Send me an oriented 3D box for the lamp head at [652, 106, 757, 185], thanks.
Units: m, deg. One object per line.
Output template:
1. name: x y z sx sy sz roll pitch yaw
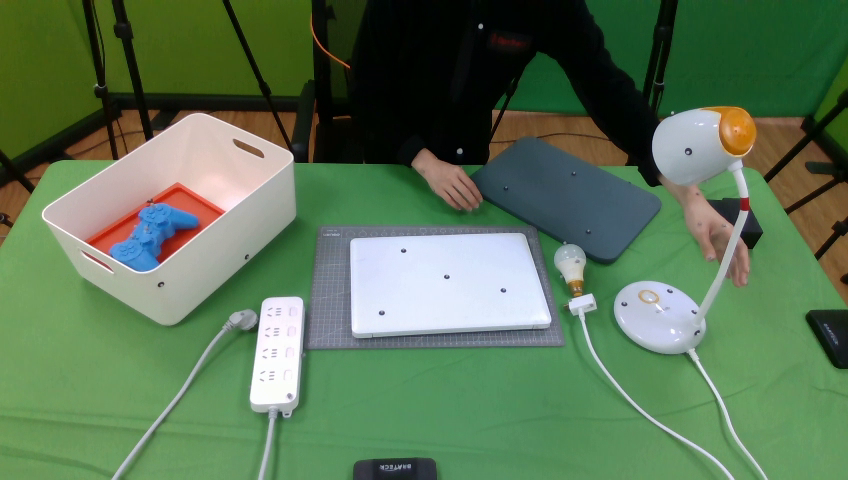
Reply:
1. lamp head: 0.410 -0.139 0.869 0.113 0.122 0.112 0 89 -19

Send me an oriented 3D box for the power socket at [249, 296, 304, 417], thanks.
1. power socket: -0.239 0.182 0.996 0.072 0.033 0.225 -2 47 -5

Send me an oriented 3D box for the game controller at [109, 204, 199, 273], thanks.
1. game controller: -0.467 -0.005 1.044 0.097 0.052 0.154 8 45 10

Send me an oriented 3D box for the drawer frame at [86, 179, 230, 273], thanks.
1. drawer frame: -0.453 0.010 1.100 0.201 0.083 0.213 28 54 23

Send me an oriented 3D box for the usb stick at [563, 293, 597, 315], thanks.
1. usb stick: 0.280 0.118 1.093 0.059 0.021 0.027 -18 35 25

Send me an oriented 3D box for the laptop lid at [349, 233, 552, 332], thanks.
1. laptop lid: 0.040 0.070 1.119 0.357 0.013 0.240 -1 44 -5

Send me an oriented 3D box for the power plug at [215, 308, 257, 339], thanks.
1. power plug: -0.317 0.143 1.024 0.072 0.053 0.035 -32 58 -9

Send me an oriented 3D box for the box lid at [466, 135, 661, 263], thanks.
1. box lid: 0.306 -0.102 1.327 0.370 0.015 0.263 32 52 25

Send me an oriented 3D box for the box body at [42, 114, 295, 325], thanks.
1. box body: -0.437 -0.046 1.110 0.253 0.161 0.363 24 49 19

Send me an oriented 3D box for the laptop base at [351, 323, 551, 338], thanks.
1. laptop base: 0.040 0.080 1.126 0.355 0.023 0.234 -2 43 -6

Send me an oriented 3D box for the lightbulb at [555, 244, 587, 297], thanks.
1. lightbulb: 0.282 0.057 1.146 0.059 0.060 0.107 -2 62 -6

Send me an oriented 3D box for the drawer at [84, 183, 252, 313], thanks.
1. drawer: -0.457 0.008 1.099 0.194 0.073 0.211 29 49 21

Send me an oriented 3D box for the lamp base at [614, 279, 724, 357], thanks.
1. lamp base: 0.436 0.090 1.035 0.161 0.181 0.178 -23 54 -23
